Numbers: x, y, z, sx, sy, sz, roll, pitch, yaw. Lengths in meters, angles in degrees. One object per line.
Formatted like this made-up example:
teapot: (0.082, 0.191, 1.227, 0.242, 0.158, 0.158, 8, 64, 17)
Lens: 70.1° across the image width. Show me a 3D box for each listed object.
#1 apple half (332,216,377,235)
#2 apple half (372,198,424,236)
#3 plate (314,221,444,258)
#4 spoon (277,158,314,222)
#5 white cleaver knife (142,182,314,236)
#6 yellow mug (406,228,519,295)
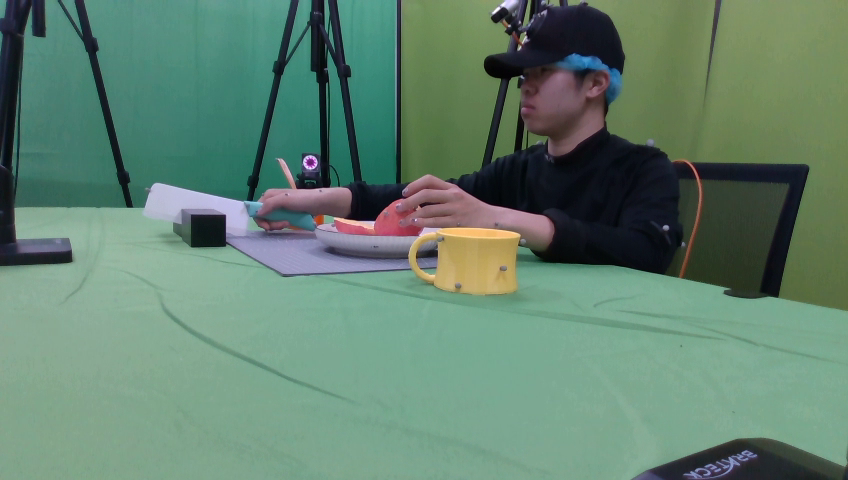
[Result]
apple half: (-0.110, -0.012, 0.972, 0.081, 0.033, 0.081, 16, 7, -2)
apple half: (-0.035, -0.022, 0.929, 0.074, 0.053, 0.081, -38, -15, 10)
plate: (-0.067, -0.002, 0.948, 0.209, 0.038, 0.209, 3, 7, 0)
spoon: (-0.272, -0.103, 1.260, 0.042, 0.193, 0.021, -4, -34, -33)
white cleaver knife: (-0.327, -0.042, 1.042, 0.288, 0.066, 0.021, 11, 3, -30)
yellow mug: (0.044, 0.022, 0.706, 0.131, 0.064, 0.100, 2, 7, 5)
